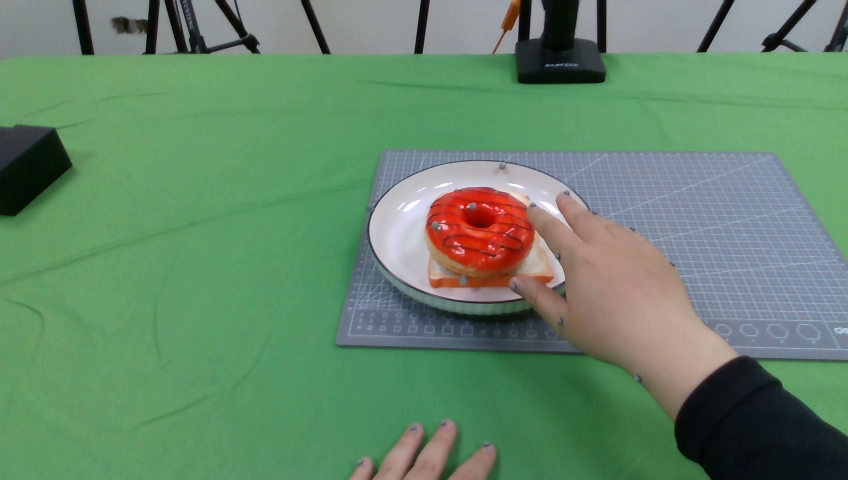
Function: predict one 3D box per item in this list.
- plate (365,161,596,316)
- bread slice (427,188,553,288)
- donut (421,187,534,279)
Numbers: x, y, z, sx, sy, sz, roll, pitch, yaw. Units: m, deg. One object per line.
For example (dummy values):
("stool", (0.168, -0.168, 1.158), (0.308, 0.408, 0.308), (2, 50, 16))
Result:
("plate", (0.051, -0.002, 0.562), (0.209, 0.038, 0.207), (-1, 40, 1))
("bread slice", (0.053, -0.004, 0.567), (0.107, 0.018, 0.133), (-2, 40, -3))
("donut", (0.046, -0.006, 0.525), (0.099, 0.048, 0.098), (1, 44, 0))
